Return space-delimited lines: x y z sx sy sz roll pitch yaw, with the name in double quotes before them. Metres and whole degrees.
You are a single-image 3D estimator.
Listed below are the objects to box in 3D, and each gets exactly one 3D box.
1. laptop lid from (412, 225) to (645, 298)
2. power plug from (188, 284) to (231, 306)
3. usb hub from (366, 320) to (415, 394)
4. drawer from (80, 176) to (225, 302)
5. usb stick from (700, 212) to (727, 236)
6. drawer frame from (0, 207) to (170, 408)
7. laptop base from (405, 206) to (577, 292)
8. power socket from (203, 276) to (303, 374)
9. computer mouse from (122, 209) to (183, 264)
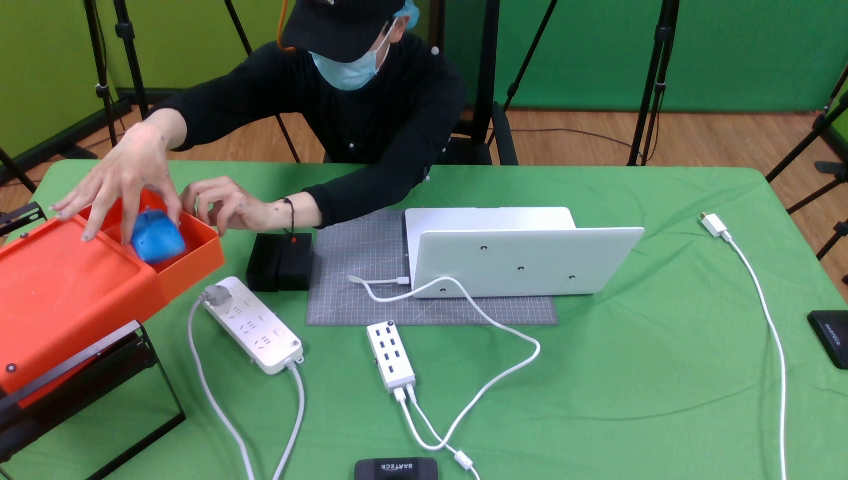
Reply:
"laptop lid" 0.161 0.042 1.012 0.357 0.242 0.013 0 59 -7
"power plug" -0.368 0.100 1.037 0.072 0.053 0.035 -22 53 -25
"usb hub" -0.056 0.192 1.009 0.049 0.025 0.124 -12 49 -16
"drawer" -0.429 0.023 0.858 0.193 0.073 0.211 31 52 23
"usb stick" 0.606 -0.037 1.273 0.027 0.021 0.059 -19 57 -20
"drawer frame" -0.490 0.078 0.796 0.201 0.083 0.213 29 51 21
"laptop base" 0.143 0.018 1.195 0.355 0.023 0.234 -1 43 -6
"power socket" -0.295 0.141 1.034 0.072 0.033 0.225 -34 58 -30
"computer mouse" -0.385 -0.012 0.852 0.063 0.041 0.116 -24 40 -24
